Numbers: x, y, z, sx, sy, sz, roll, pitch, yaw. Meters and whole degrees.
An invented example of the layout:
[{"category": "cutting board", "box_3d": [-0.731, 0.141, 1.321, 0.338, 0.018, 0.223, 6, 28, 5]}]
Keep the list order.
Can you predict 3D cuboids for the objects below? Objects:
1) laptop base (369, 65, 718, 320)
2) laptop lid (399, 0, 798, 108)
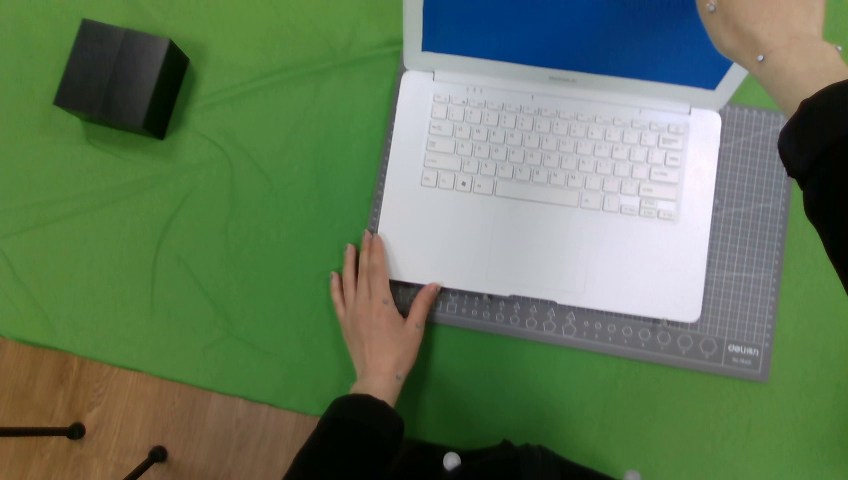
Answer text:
[{"category": "laptop base", "box_3d": [0.130, -0.054, 0.660, 0.354, 0.023, 0.235, 8, 87, 1]}, {"category": "laptop lid", "box_3d": [0.150, -0.219, 0.565, 0.356, 0.243, 0.013, 8, 65, 3]}]
